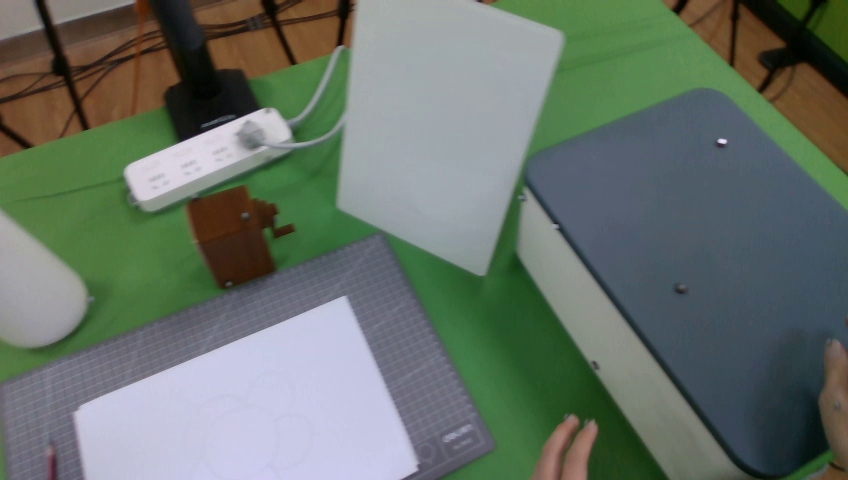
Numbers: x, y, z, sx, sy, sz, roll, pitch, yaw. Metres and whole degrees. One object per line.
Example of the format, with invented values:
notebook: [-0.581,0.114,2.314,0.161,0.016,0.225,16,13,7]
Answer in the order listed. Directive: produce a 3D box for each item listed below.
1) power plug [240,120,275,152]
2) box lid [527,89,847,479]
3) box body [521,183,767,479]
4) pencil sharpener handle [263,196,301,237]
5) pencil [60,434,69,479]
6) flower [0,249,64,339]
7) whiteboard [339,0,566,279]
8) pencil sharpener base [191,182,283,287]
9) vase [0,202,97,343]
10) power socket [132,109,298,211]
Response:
power plug: [-0.216,-0.124,0.789,0.035,0.053,0.072,-19,61,-12]
box lid: [0.293,0.006,0.572,0.263,0.015,0.367,-23,60,-15]
box body: [0.293,0.049,0.634,0.254,0.162,0.360,-23,60,-15]
pencil sharpener handle: [-0.162,-0.029,0.698,0.031,0.068,0.035,-20,58,-13]
pencil: [-0.339,0.274,0.572,0.012,0.012,0.192,-16,58,-10]
flower: [-0.425,-0.032,0.559,0.038,0.365,0.043,-33,45,-28]
whiteboard: [0.040,-0.144,0.707,0.216,0.308,0.143,26,42,16]
pencil sharpener base: [-0.209,-0.005,0.697,0.077,0.108,0.061,-20,59,-13]
vase: [-0.423,0.029,0.618,0.098,0.201,0.097,0,57,1]
power socket: [-0.275,-0.109,0.807,0.227,0.033,0.071,-27,62,-17]
